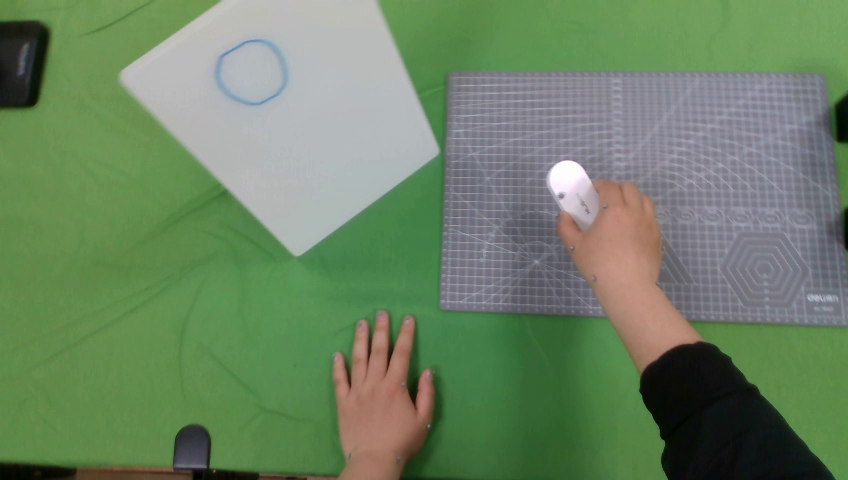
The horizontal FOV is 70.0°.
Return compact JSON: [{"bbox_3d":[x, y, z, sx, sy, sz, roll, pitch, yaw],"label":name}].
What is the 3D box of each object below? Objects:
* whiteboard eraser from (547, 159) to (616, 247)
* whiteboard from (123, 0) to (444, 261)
[{"bbox_3d":[0.167,-0.039,0.642,0.041,0.019,0.101,-31,91,-8],"label":"whiteboard eraser"},{"bbox_3d":[-0.139,-0.158,0.633,0.217,0.308,0.142,-37,57,-5],"label":"whiteboard"}]
